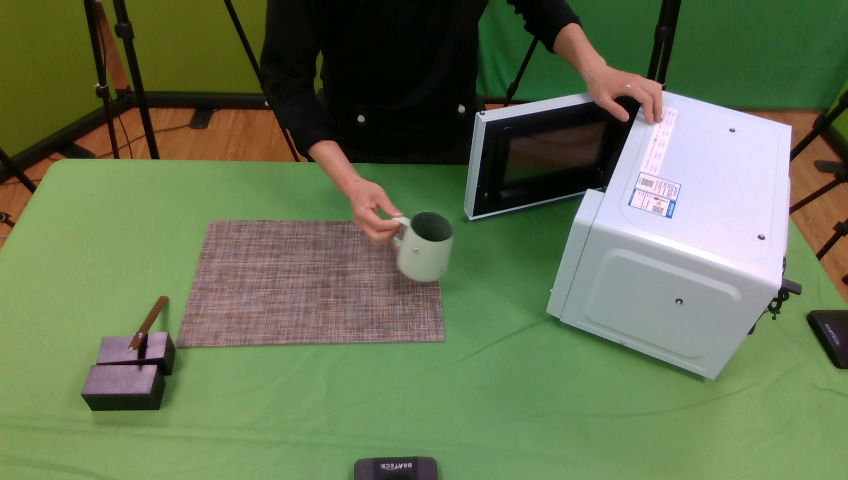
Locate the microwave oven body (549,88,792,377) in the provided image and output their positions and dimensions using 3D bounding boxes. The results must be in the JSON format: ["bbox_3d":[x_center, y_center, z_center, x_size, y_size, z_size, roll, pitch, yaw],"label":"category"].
[{"bbox_3d":[0.456,-0.028,1.088,0.325,0.261,0.440,20,47,16],"label":"microwave oven body"}]

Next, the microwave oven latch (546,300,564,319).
[{"bbox_3d":[0.242,0.102,1.081,0.030,0.029,0.079,21,48,17],"label":"microwave oven latch"}]

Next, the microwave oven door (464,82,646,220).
[{"bbox_3d":[0.258,-0.177,1.209,0.356,0.245,0.039,-14,48,-16],"label":"microwave oven door"}]

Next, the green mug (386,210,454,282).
[{"bbox_3d":[-0.011,0.005,1.063,0.125,0.105,0.092,28,45,12],"label":"green mug"}]

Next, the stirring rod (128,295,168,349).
[{"bbox_3d":[-0.451,0.131,0.996,0.014,0.006,0.175,9,21,-10],"label":"stirring rod"}]
